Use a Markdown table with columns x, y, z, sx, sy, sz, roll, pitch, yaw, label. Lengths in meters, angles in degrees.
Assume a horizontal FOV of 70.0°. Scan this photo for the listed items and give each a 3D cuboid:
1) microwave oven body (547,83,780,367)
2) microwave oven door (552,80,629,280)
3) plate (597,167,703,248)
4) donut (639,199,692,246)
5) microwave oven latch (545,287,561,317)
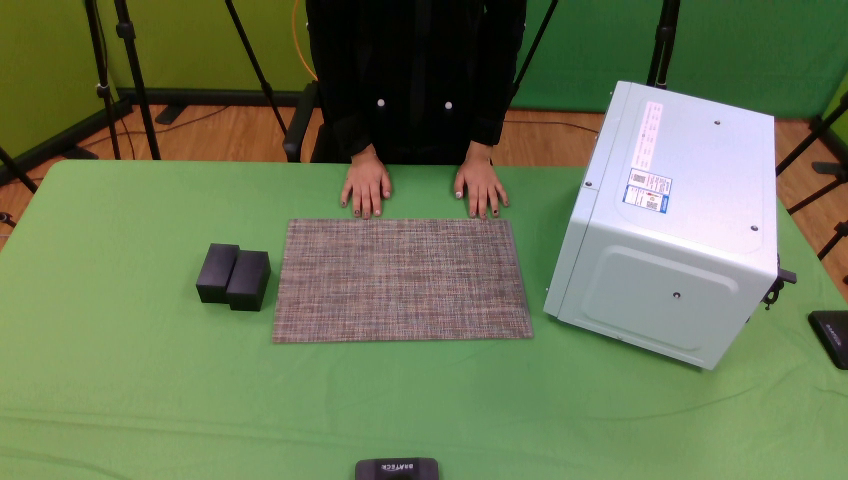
| x | y | z | sx | sy | sz | roll | pitch | yaw | label |
| --- | --- | --- | --- | --- | --- | --- | --- | --- | --- |
| 0.445 | -0.041 | 1.101 | 0.325 | 0.261 | 0.440 | 17 | 47 | 13 | microwave oven body |
| 0.324 | -0.116 | 1.156 | 0.039 | 0.245 | 0.354 | 18 | 48 | 13 | microwave oven door |
| 0.432 | -0.060 | 1.177 | 0.209 | 0.038 | 0.208 | 7 | 47 | -8 | plate |
| 0.461 | -0.035 | 1.159 | 0.099 | 0.048 | 0.098 | 1 | 62 | -3 | donut |
| 0.237 | 0.098 | 1.087 | 0.030 | 0.029 | 0.079 | 17 | 47 | 13 | microwave oven latch |
